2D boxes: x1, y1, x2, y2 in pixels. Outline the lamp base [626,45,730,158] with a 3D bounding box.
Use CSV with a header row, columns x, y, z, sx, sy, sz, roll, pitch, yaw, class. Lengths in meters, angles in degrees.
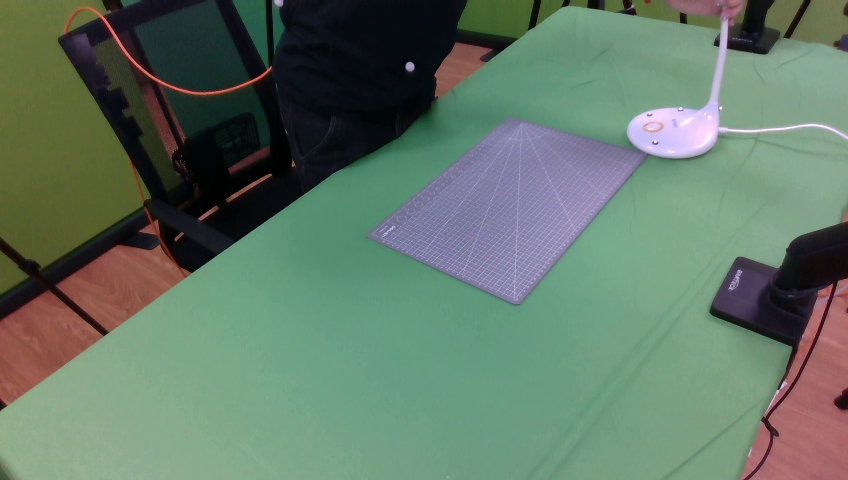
x,y,z,sx,sy,sz,roll,pitch,yaw,class
0.468,-0.262,1.086,0.179,0.181,0.159,-4,41,0,lamp base
